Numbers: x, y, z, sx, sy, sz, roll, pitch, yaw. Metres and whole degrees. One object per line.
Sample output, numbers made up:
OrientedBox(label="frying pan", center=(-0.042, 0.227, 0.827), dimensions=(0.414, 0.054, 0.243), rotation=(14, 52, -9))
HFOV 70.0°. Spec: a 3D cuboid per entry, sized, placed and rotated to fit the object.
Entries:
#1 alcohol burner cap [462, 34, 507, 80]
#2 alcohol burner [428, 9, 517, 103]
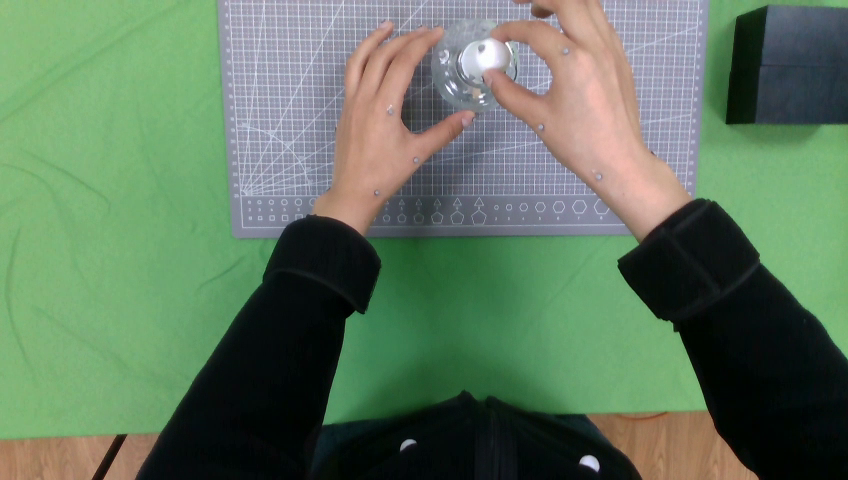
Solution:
OrientedBox(label="alcohol burner cap", center=(0.048, -0.143, 0.469), dimensions=(0.034, 0.047, 0.034), rotation=(-1, 101, -2))
OrientedBox(label="alcohol burner", center=(0.043, -0.156, 0.508), dimensions=(0.078, 0.118, 0.078), rotation=(-1, 102, -6))
